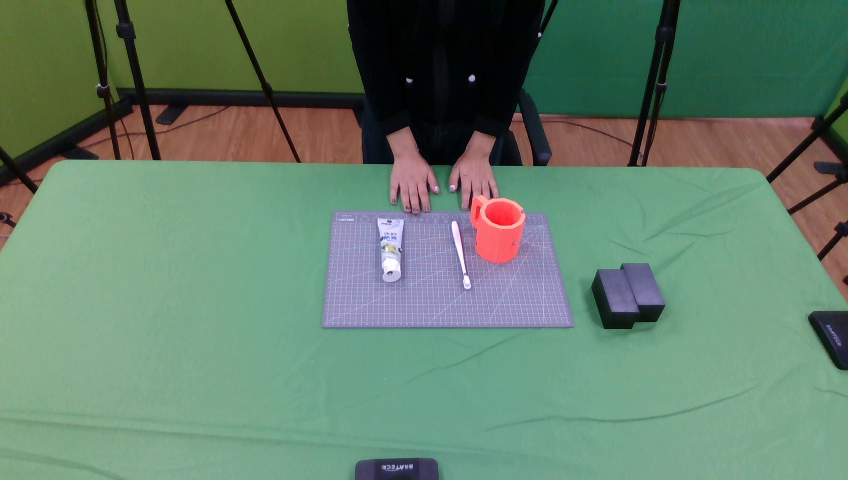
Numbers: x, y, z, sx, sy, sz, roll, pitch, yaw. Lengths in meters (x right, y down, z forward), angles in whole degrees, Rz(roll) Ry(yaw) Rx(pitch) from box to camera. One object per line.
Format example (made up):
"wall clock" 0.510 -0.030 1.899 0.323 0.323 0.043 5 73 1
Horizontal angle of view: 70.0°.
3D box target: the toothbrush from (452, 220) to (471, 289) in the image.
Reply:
"toothbrush" 0.071 0.024 1.180 0.014 0.017 0.180 -14 45 5

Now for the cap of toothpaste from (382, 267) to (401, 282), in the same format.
"cap of toothpaste" -0.060 0.063 1.119 0.037 0.037 0.011 -9 50 -12

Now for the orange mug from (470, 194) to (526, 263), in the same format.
"orange mug" 0.136 -0.030 1.180 0.083 0.101 0.125 -26 58 -26

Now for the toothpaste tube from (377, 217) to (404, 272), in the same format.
"toothpaste tube" -0.063 0.008 1.179 0.055 0.034 0.164 5 42 -9
